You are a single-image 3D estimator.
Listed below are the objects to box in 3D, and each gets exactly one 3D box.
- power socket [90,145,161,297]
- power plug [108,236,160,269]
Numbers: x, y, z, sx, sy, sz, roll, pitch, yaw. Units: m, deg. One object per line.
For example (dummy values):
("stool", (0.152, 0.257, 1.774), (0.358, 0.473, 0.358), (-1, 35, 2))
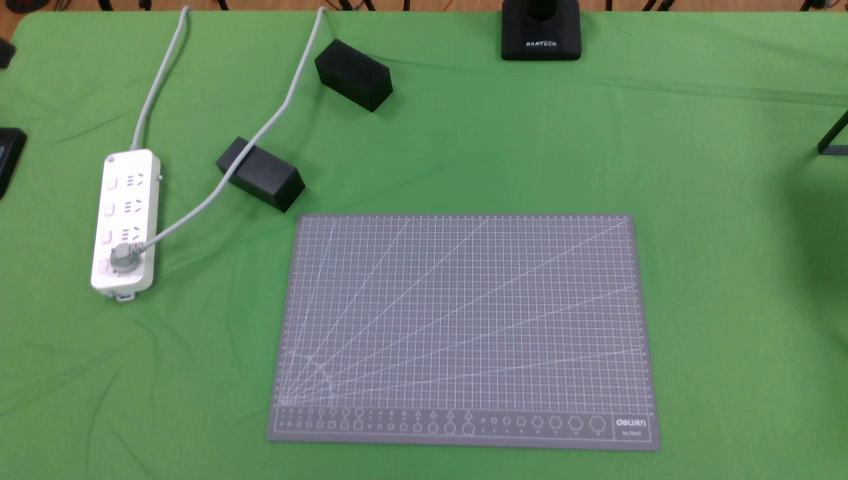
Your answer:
("power socket", (-0.402, -0.033, 0.823), (0.072, 0.033, 0.225), (-7, 65, 0))
("power plug", (-0.366, 0.020, 0.774), (0.072, 0.053, 0.035), (1, 66, 4))
